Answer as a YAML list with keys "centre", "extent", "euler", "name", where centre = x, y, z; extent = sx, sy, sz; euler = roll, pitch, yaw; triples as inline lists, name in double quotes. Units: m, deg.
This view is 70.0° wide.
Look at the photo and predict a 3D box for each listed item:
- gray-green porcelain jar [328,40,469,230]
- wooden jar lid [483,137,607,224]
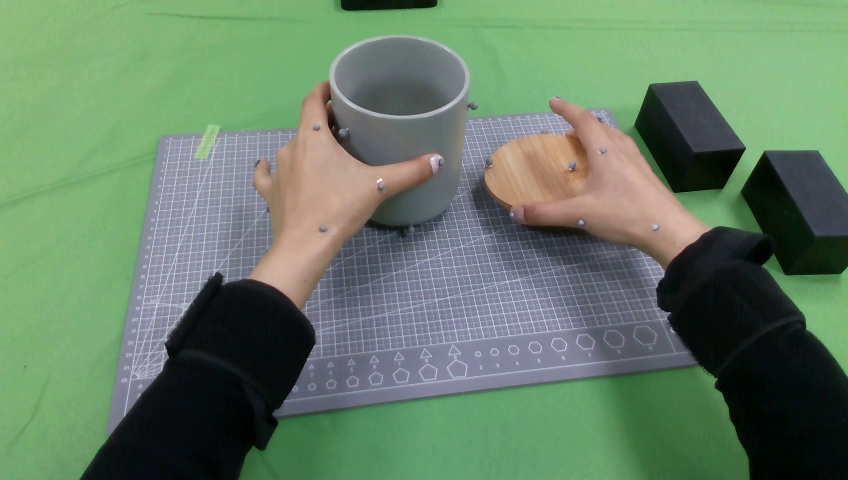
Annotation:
- centre: [-0.021, -0.080, 0.497]
  extent: [0.106, 0.127, 0.105]
  euler: [2, 50, -2]
  name: "gray-green porcelain jar"
- centre: [0.106, -0.052, 0.537]
  extent: [0.108, 0.021, 0.107]
  euler: [-5, 44, 5]
  name: "wooden jar lid"
